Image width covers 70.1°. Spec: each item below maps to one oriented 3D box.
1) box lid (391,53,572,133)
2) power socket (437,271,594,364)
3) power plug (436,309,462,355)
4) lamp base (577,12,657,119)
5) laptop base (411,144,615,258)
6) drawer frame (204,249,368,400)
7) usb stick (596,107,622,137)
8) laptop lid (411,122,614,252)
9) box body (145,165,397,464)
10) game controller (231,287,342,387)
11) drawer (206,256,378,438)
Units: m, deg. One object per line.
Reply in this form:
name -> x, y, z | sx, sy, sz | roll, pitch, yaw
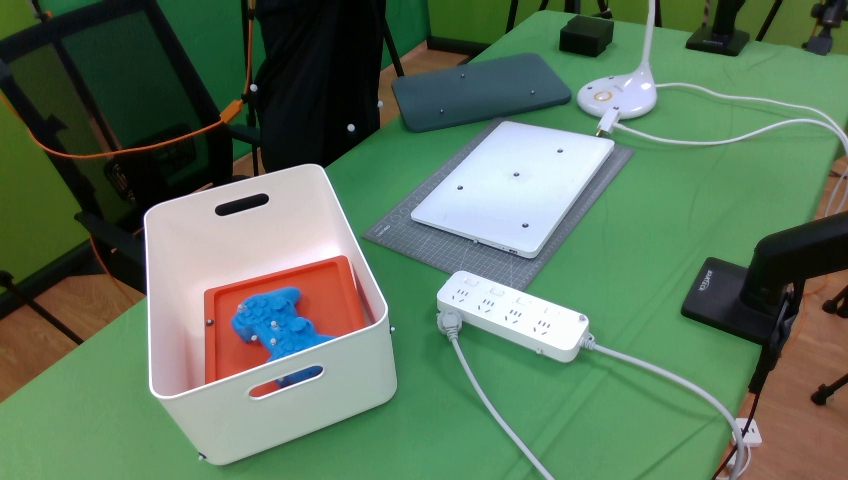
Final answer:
box lid -> 0.122, -0.339, 1.366 | 0.372, 0.015, 0.261 | -12, 40, -5
power socket -> 0.118, 0.102, 0.830 | 0.225, 0.033, 0.072 | 20, 48, 28
power plug -> 0.033, 0.126, 0.810 | 0.035, 0.053, 0.072 | 2, 59, 7
lamp base -> 0.405, -0.360, 1.218 | 0.180, 0.181, 0.159 | -23, 43, -23
laptop base -> 0.167, -0.102, 1.074 | 0.234, 0.023, 0.355 | 16, 45, 30
drawer frame -> -0.174, 0.129, 0.790 | 0.202, 0.083, 0.212 | -16, 45, -8
usb stick -> 0.355, -0.223, 1.168 | 0.027, 0.059, 0.022 | 37, 14, 34
laptop lid -> 0.164, -0.112, 1.068 | 0.240, 0.013, 0.357 | 19, 46, 30
box body -> -0.205, 0.080, 0.802 | 0.255, 0.161, 0.361 | -18, 41, -13
game controller -> -0.167, 0.110, 0.734 | 0.097, 0.052, 0.154 | -35, 47, -22
drawer -> -0.177, 0.130, 0.787 | 0.195, 0.073, 0.210 | -14, 39, -9
